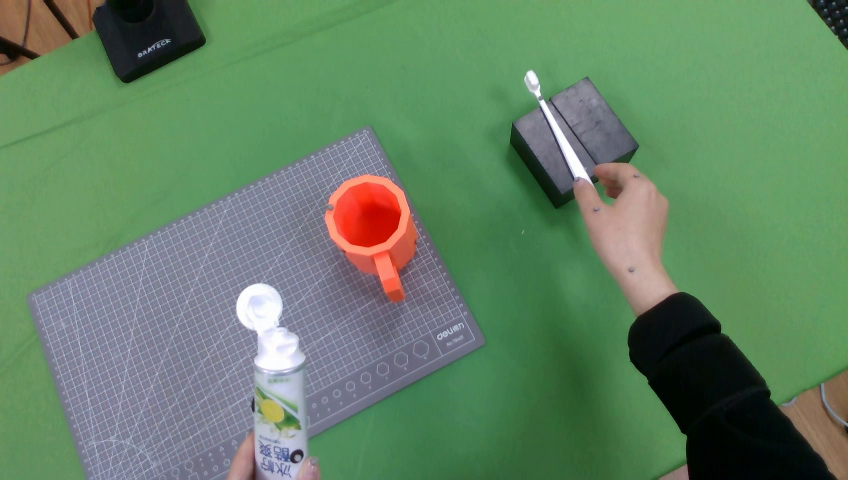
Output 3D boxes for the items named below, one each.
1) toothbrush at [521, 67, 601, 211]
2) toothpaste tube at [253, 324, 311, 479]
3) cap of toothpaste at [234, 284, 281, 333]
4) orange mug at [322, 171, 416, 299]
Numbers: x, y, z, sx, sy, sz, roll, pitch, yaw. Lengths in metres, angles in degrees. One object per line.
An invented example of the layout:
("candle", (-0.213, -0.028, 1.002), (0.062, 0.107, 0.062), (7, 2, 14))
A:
("toothbrush", (0.148, -0.112, 0.656), (0.014, 0.017, 0.181), (-22, 76, -5))
("toothpaste tube", (-0.106, 0.139, 0.444), (0.055, 0.034, 0.165), (8, 106, 26))
("cap of toothpaste", (-0.118, 0.050, 0.437), (0.037, 0.011, 0.037), (8, 78, -37))
("orange mug", (-0.050, -0.001, 0.647), (0.083, 0.101, 0.125), (-19, 71, -1))
